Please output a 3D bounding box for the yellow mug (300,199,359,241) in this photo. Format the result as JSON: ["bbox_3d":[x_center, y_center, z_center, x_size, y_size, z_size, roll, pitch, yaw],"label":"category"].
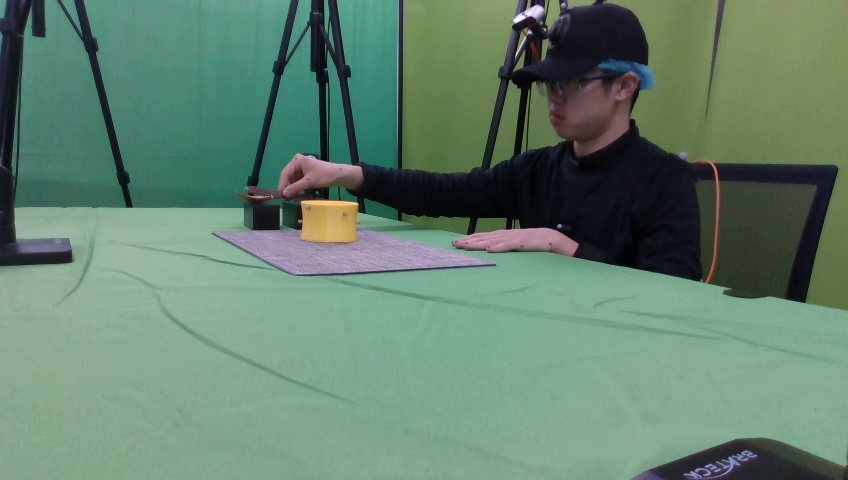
[{"bbox_3d":[-0.156,-0.036,1.060,0.099,0.064,0.131,6,7,27],"label":"yellow mug"}]

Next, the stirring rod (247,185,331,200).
[{"bbox_3d":[-0.264,-0.090,1.202,0.177,0.014,0.006,6,-11,-36],"label":"stirring rod"}]

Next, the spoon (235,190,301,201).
[{"bbox_3d":[-0.291,-0.088,1.248,0.195,0.021,0.041,0,6,-31],"label":"spoon"}]
